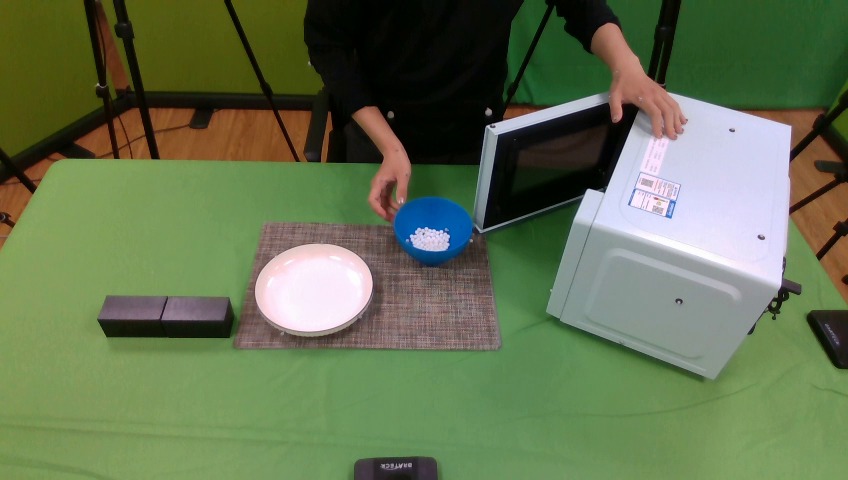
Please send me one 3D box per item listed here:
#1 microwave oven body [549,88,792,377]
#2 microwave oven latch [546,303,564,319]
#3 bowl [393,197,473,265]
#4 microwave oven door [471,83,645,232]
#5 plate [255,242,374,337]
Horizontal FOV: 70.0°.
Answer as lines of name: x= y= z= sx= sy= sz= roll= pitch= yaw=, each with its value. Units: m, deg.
microwave oven body: x=0.456 y=-0.028 z=1.088 sx=0.325 sy=0.261 sz=0.440 roll=20 pitch=47 yaw=16
microwave oven latch: x=0.242 y=0.102 z=1.081 sx=0.030 sy=0.029 sz=0.079 roll=21 pitch=48 yaw=17
bowl: x=0.015 y=-0.005 z=1.159 sx=0.151 sy=0.077 sz=0.150 roll=2 pitch=46 yaw=-2
microwave oven door: x=0.264 y=-0.163 z=1.197 sx=0.356 sy=0.245 sz=0.039 roll=-19 pitch=50 yaw=-21
plate: x=-0.192 y=0.090 z=1.079 sx=0.208 sy=0.039 sz=0.206 roll=2 pitch=46 yaw=-2
